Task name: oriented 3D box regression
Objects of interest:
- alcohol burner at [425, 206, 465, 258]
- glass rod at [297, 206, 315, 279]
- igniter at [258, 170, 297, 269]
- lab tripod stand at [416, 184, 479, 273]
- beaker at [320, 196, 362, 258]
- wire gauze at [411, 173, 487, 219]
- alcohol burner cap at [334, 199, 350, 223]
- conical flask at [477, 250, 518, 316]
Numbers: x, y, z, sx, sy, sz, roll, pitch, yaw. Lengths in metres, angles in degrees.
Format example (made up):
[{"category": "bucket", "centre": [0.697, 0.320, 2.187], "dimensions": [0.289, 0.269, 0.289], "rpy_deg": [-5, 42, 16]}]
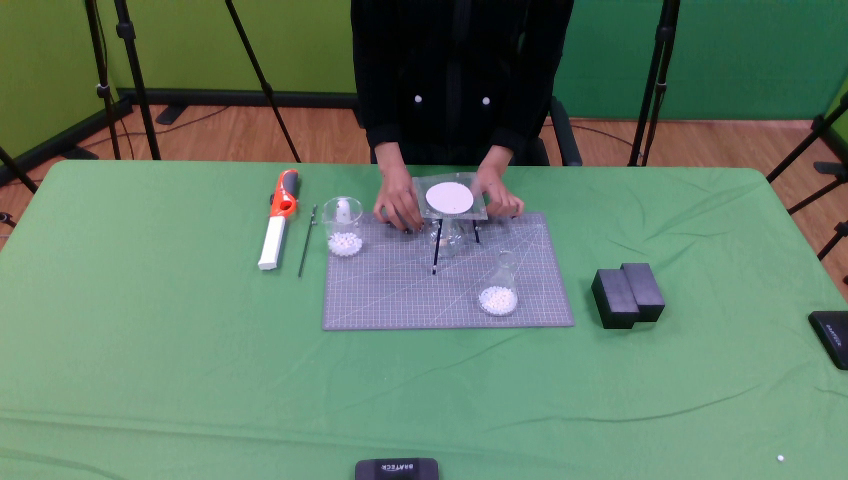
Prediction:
[{"category": "alcohol burner", "centre": [0.041, -0.023, 1.158], "dimensions": [0.078, 0.119, 0.077], "rpy_deg": [3, 47, -3]}, {"category": "glass rod", "centre": [-0.232, 0.000, 1.191], "dimensions": [0.008, 0.008, 0.198], "rpy_deg": [2, 46, -1]}, {"category": "igniter", "centre": [-0.294, -0.050, 1.221], "dimensions": [0.057, 0.025, 0.274], "rpy_deg": [-5, 45, 4]}, {"category": "lab tripod stand", "centre": [0.042, -0.031, 1.152], "dimensions": [0.148, 0.132, 0.147], "rpy_deg": [3, 44, -3]}, {"category": "beaker", "centre": [-0.156, -0.021, 1.150], "dimensions": [0.084, 0.101, 0.073], "rpy_deg": [-30, 55, -28]}, {"category": "wire gauze", "centre": [0.044, -0.080, 1.106], "dimensions": [0.125, 0.011, 0.120], "rpy_deg": [-3, 46, -7]}, {"category": "alcohol burner cap", "centre": [-0.167, -0.061, 1.227], "dimensions": [0.034, 0.048, 0.033], "rpy_deg": [2, 46, -2]}, {"category": "conical flask", "centre": [0.137, 0.072, 1.067], "dimensions": [0.075, 0.122, 0.075], "rpy_deg": [2, 46, -2]}]
